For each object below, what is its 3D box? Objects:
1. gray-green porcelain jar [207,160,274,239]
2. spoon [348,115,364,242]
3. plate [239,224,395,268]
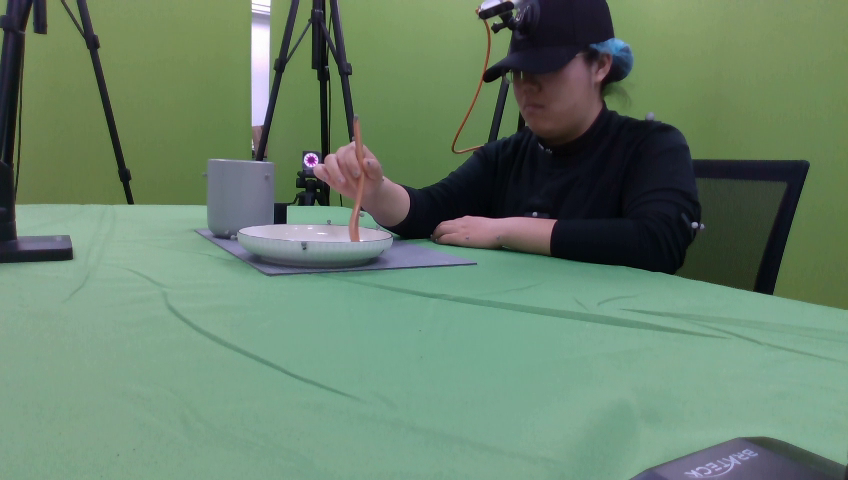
[{"bbox_3d":[-0.304,-0.068,1.003,0.106,0.126,0.106,3,7,0],"label":"gray-green porcelain jar"},{"bbox_3d":[-0.090,-0.075,0.827,0.021,0.193,0.041,1,-5,6],"label":"spoon"},{"bbox_3d":[-0.144,0.007,0.823,0.208,0.039,0.207,3,7,0],"label":"plate"}]
